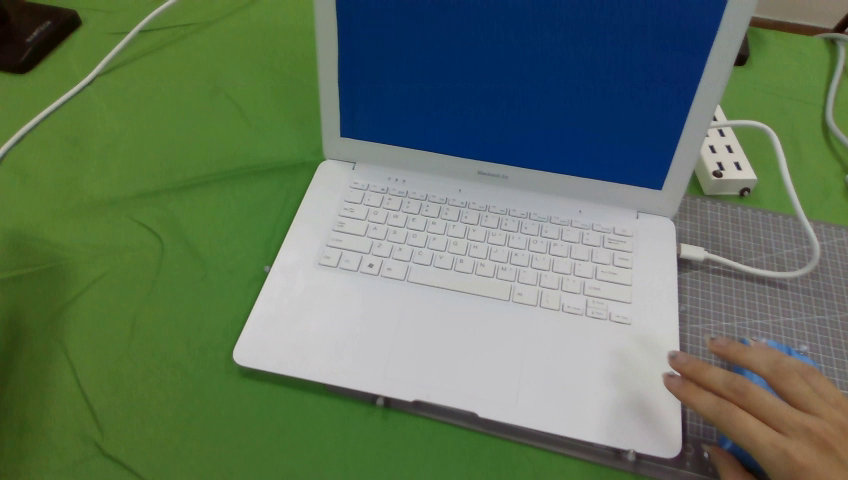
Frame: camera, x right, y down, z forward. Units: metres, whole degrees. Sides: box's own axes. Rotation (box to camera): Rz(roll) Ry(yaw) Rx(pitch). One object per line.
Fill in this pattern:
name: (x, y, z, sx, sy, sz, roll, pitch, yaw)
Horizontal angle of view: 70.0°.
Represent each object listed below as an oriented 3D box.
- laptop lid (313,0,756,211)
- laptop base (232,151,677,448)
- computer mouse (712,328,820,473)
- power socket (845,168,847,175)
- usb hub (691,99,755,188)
laptop lid: (0.073, -0.147, 0.529, 0.356, 0.244, 0.013, 9, 40, 7)
laptop base: (0.040, 0.036, 0.535, 0.354, 0.023, 0.233, 10, 56, 7)
computer mouse: (0.265, 0.117, 0.464, 0.062, 0.041, 0.116, 23, 50, 17)
power socket: (0.519, -0.011, 0.579, 0.072, 0.033, 0.224, -21, 56, -18)
usb hub: (0.306, -0.109, 0.651, 0.049, 0.025, 0.124, -1, 52, -2)
